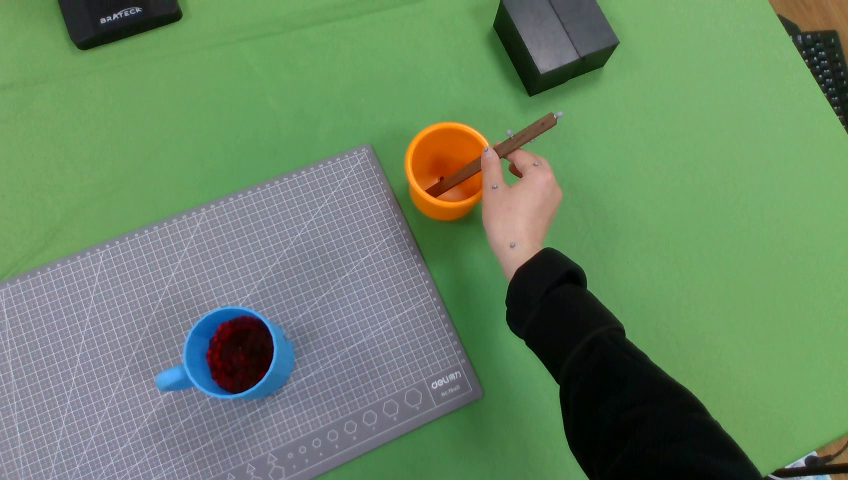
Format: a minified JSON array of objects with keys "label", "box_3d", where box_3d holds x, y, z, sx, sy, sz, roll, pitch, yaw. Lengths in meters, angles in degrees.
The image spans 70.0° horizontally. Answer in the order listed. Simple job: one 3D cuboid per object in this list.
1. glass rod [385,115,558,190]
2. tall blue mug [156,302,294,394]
[{"label":"glass rod","box_3d":[0.041,-0.084,0.605,0.199,0.008,0.008,-19,75,29]},{"label":"tall blue mug","box_3d":[-0.175,0.113,0.551,0.077,0.108,0.107,42,76,5]}]
